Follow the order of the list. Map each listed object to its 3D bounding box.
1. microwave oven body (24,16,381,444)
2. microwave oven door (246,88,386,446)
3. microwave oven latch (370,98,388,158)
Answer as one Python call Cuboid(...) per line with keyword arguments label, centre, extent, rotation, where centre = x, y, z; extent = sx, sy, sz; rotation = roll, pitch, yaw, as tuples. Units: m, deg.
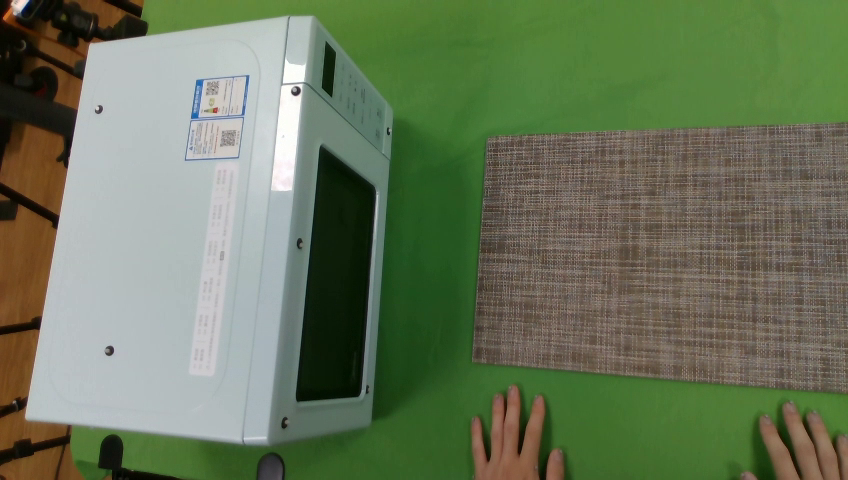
Cuboid(label="microwave oven body", centre=(-0.246, 0.003, 0.751), extent=(0.325, 0.262, 0.440), rotation=(-1, 79, 17))
Cuboid(label="microwave oven door", centre=(-0.111, 0.041, 0.695), extent=(0.039, 0.245, 0.354), rotation=(-1, 78, 18))
Cuboid(label="microwave oven latch", centre=(-0.067, -0.153, 0.830), extent=(0.030, 0.030, 0.079), rotation=(1, 80, 17))
